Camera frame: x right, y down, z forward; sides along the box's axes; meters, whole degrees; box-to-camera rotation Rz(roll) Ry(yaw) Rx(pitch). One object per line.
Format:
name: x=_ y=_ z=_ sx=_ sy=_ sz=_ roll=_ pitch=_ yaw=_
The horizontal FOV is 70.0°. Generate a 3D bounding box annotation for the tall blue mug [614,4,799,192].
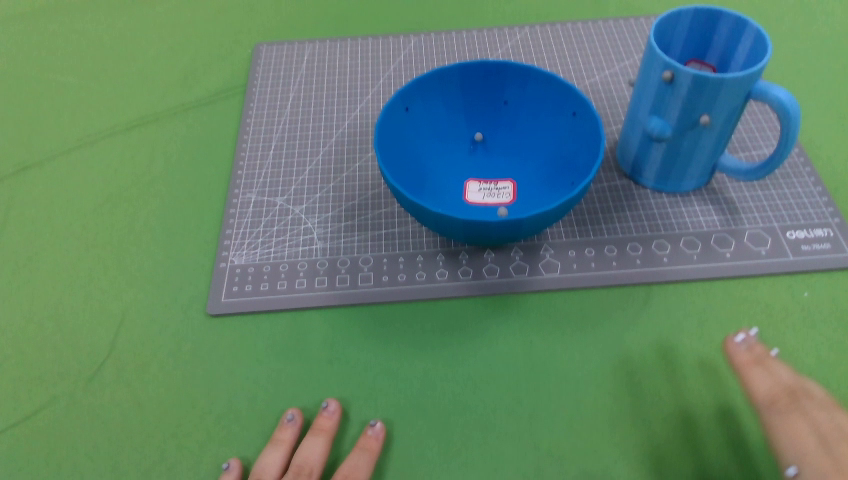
tall blue mug: x=0.199 y=-0.094 z=0.428 sx=0.107 sy=0.109 sz=0.077 roll=12 pitch=55 yaw=12

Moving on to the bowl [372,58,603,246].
bowl: x=0.042 y=-0.048 z=0.423 sx=0.151 sy=0.077 sz=0.150 roll=-1 pitch=54 yaw=2
